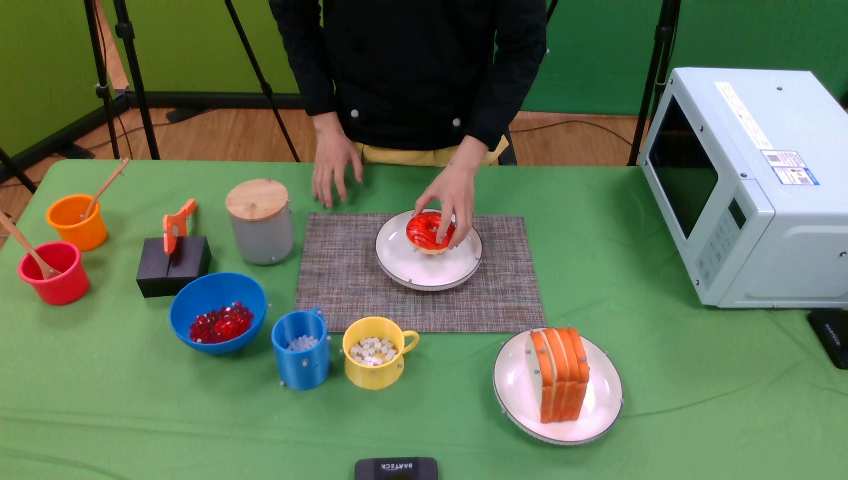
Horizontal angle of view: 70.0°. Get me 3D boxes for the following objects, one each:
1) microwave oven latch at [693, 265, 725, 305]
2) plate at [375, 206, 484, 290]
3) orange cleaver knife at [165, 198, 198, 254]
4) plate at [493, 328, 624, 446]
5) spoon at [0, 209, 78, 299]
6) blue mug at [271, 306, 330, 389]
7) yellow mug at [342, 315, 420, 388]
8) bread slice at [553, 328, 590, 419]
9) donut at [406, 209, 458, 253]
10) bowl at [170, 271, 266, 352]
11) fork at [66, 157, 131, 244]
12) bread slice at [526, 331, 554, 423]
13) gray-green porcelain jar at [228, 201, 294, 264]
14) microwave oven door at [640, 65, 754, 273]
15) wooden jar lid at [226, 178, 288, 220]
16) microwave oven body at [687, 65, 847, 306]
[{"bbox_3d":[0.523,0.081,1.115,0.030,0.029,0.078,2,46,-1],"label":"microwave oven latch"},{"bbox_3d":[0.009,0.019,1.161,0.209,0.038,0.208,2,46,-2],"label":"plate"},{"bbox_3d":[-0.458,-0.031,1.149,0.012,0.077,0.210,-2,17,-6],"label":"orange cleaver knife"},{"bbox_3d":[0.213,0.236,0.974,0.208,0.039,0.206,2,46,-2],"label":"plate"},{"bbox_3d":[-0.668,0.022,1.040,0.041,0.021,0.194,-41,105,-29],"label":"spoon"},{"bbox_3d":[-0.188,0.163,0.969,0.082,0.106,0.116,15,47,10],"label":"blue mug"},{"bbox_3d":[-0.068,0.177,0.991,0.131,0.064,0.099,-15,50,-19],"label":"yellow mug"},{"bbox_3d":[0.226,0.201,0.932,0.018,0.135,0.106,-4,51,-4],"label":"bread slice"},{"bbox_3d":[0.015,-0.018,1.137,0.099,0.048,0.098,4,49,-5],"label":"donut"},{"bbox_3d":[-0.333,0.132,1.006,0.151,0.077,0.150,2,46,-2],"label":"bowl"},{"bbox_3d":[-0.608,-0.074,1.132,0.207,0.019,0.028,-52,48,10],"label":"fork"},{"bbox_3d":[0.176,0.202,0.929,0.019,0.132,0.104,-9,45,-1],"label":"bread slice"},{"bbox_3d":[-0.299,-0.027,1.126,0.106,0.127,0.105,2,46,-2],"label":"gray-green porcelain jar"},{"bbox_3d":[0.523,-0.147,1.193,0.039,0.245,0.353,0,47,-3],"label":"microwave oven door"},{"bbox_3d":[-0.296,-0.070,1.081,0.108,0.021,0.107,1,45,-1],"label":"wooden jar lid"},{"bbox_3d":[0.669,-0.111,1.176,0.326,0.261,0.439,0,46,-3],"label":"microwave oven body"}]
